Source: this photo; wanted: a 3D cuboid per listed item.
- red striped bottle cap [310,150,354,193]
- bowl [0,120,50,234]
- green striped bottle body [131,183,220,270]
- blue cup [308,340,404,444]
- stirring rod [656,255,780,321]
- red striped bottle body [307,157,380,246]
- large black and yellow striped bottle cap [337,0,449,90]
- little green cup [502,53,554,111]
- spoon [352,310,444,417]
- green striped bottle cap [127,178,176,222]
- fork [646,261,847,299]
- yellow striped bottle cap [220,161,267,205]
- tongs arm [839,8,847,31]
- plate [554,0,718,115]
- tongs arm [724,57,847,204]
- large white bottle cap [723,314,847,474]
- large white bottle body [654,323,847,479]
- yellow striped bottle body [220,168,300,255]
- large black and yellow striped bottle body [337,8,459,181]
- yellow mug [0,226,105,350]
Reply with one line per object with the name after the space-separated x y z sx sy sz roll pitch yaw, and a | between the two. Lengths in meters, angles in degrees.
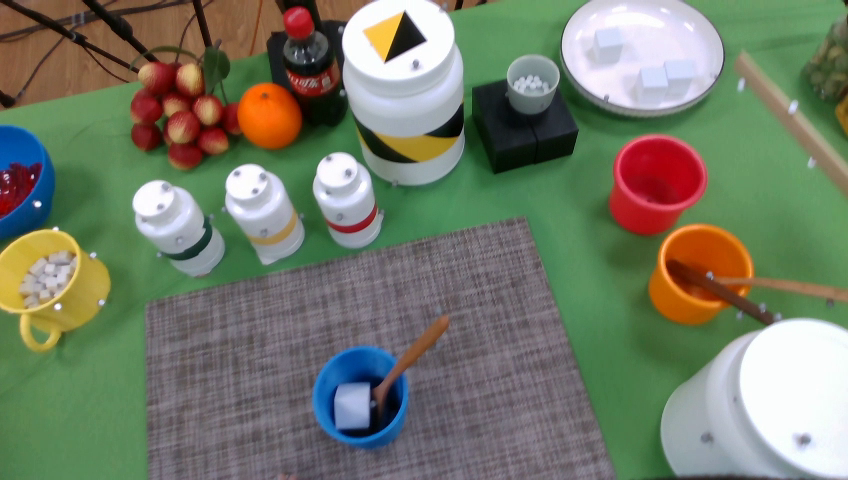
-0.095 -0.072 0.626 0.044 0.018 0.044 0 61 0 | red striped bottle cap
-0.514 -0.059 0.726 0.151 0.077 0.150 -1 64 2 | bowl
-0.276 -0.018 0.669 0.063 0.120 0.062 -1 63 3 | green striped bottle body
-0.058 0.153 0.577 0.092 0.101 0.092 -1 60 2 | blue cup
0.283 0.045 0.595 0.014 0.006 0.174 -19 21 -7 | stirring rod
-0.090 -0.047 0.673 0.063 0.121 0.062 -3 62 6 | red striped bottle body
-0.032 -0.203 0.617 0.115 0.019 0.114 -2 63 4 | large black and yellow striped bottle cap
0.121 -0.186 0.719 0.061 0.039 0.061 -1 62 2 | little green cup
-0.029 0.122 0.549 0.022 0.194 0.041 -3 53 -32 | spoon
-0.280 -0.041 0.622 0.044 0.020 0.044 -1 62 2 | green striped bottle cap
0.311 0.039 0.591 0.028 0.019 0.206 -47 26 -23 | fork
-0.187 -0.059 0.626 0.044 0.019 0.044 -1 65 2 | yellow striped bottle cap
0.469 -0.057 0.525 0.028 0.028 0.384 -16 68 -6 | tongs arm
0.273 -0.245 0.796 0.209 0.038 0.207 -1 64 3 | plate
0.402 -0.027 0.519 0.051 0.027 0.381 -27 68 -7 | tongs arm
0.280 0.109 0.442 0.115 0.018 0.114 -1 63 3 | large white bottle cap
0.286 0.148 0.517 0.130 0.186 0.129 -1 63 3 | large white bottle body
-0.183 -0.036 0.672 0.063 0.121 0.062 -2 63 4 | yellow striped bottle body
-0.026 -0.166 0.693 0.131 0.185 0.129 -1 63 3 | large black and yellow striped bottle body
-0.422 0.057 0.670 0.100 0.064 0.129 -4 64 0 | yellow mug
